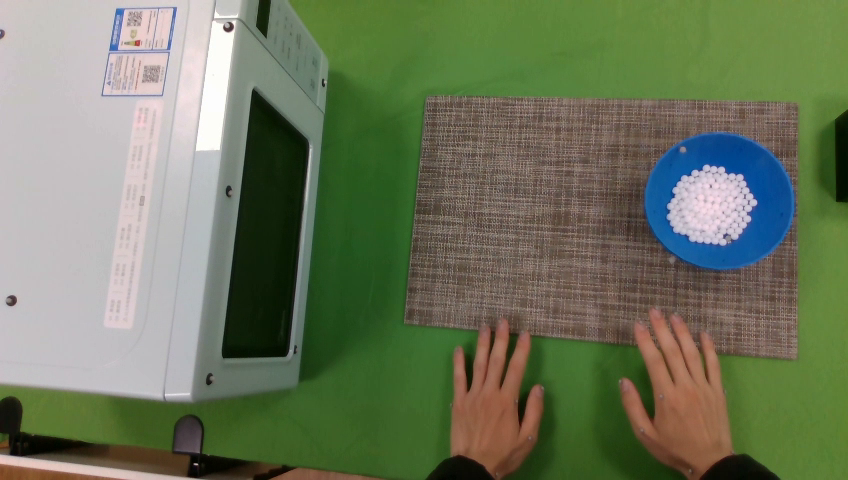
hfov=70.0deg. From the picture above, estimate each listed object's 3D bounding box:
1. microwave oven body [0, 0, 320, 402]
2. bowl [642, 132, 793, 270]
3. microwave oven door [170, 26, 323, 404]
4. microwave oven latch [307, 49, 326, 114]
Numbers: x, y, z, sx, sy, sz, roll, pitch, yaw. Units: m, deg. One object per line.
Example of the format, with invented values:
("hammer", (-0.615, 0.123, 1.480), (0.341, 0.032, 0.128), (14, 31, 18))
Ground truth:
("microwave oven body", (-0.320, -0.056, 0.700), (0.325, 0.261, 0.440), (2, 81, 10))
("bowl", (0.316, -0.036, 0.679), (0.151, 0.077, 0.151), (-2, 80, 10))
("microwave oven door", (-0.180, -0.010, 0.663), (0.039, 0.245, 0.354), (2, 81, 11))
("microwave oven latch", (-0.146, -0.208, 0.795), (0.030, 0.029, 0.079), (2, 82, 10))
